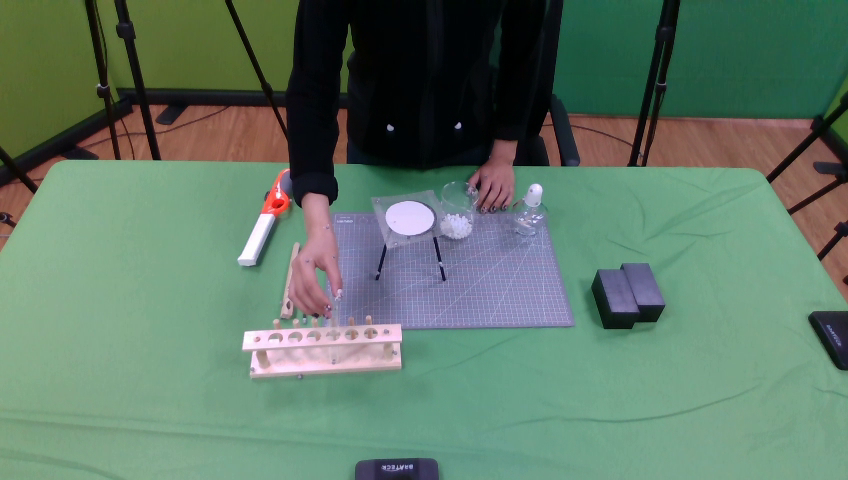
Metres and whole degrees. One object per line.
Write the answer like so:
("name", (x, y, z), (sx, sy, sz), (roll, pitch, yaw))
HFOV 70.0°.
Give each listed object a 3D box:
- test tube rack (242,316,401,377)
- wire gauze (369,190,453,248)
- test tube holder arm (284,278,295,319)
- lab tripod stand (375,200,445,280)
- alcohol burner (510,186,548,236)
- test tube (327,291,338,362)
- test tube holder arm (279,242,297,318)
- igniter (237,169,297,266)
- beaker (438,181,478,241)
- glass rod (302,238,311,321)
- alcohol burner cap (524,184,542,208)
("test tube rack", (-0.161, 0.166, 0.983), (0.242, 0.085, 0.066), (-2, 46, -6))
("wire gauze", (-0.024, -0.042, 1.064), (0.121, 0.011, 0.124), (-10, 48, -16))
("test tube holder arm", (-0.242, 0.103, 1.084), (0.010, 0.015, 0.087), (26, 38, -27))
("lab tripod stand", (-0.023, 0.004, 1.113), (0.148, 0.132, 0.147), (3, 45, -3))
("alcohol burner", (0.214, -0.066, 1.213), (0.078, 0.119, 0.077), (2, 48, -3))
("test tube", (-0.142, 0.137, 0.939), (0.017, 0.151, 0.017), (4, 39, -3))
("test tube holder arm", (-0.249, 0.069, 1.113), (0.013, 0.015, 0.177), (26, 38, -28))
("igniter", (-0.313, -0.054, 1.224), (0.057, 0.025, 0.275), (1, 45, 10))
("beaker", (0.066, -0.053, 1.200), (0.074, 0.101, 0.083), (-17, 50, -19))
("glass rod", (-0.218, 0.069, 1.125), (0.008, 0.008, 0.198), (-1, 47, -5))
("alcohol burner cap", (0.216, -0.089, 1.186), (0.034, 0.048, 0.033), (1, 56, -1))
